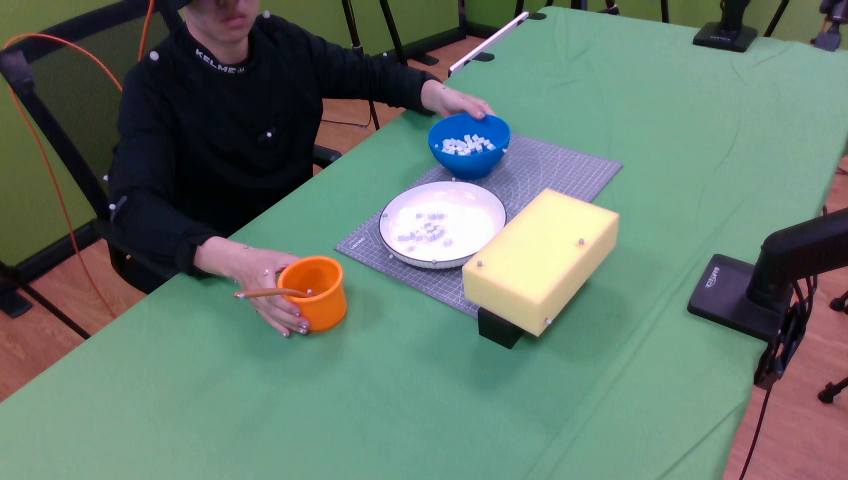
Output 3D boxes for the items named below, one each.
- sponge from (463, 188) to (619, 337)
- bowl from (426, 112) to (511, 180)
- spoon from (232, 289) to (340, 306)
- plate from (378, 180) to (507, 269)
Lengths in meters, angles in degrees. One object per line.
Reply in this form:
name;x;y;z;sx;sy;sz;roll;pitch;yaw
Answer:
sponge;0.160;0.022;0.814;0.117;0.061;0.207;24;50;32
bowl;0.084;-0.161;1.098;0.151;0.077;0.150;-4;40;4
spoon;-0.181;0.074;0.812;0.041;0.195;0.021;14;89;32
plate;0.031;-0.022;0.974;0.209;0.038;0.208;-4;40;4
